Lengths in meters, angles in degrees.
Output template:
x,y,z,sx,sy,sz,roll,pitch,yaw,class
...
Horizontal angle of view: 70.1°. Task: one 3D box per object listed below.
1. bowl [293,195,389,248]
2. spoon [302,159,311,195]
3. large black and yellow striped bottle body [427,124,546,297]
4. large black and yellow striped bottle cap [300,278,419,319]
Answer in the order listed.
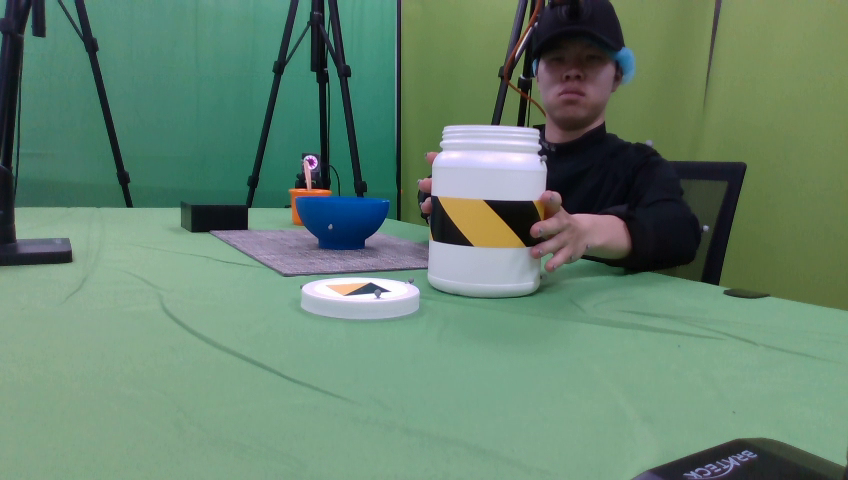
x,y,z,sx,sy,sz,roll,pitch,yaw,class
-0.132,-0.030,0.962,0.151,0.077,0.151,2,7,0,bowl
-0.257,-0.113,1.341,0.042,0.193,0.021,3,-38,-18,spoon
0.071,-0.036,0.689,0.131,0.184,0.130,2,7,0,large black and yellow striped bottle body
-0.062,0.055,0.588,0.115,0.019,0.115,1,6,0,large black and yellow striped bottle cap
